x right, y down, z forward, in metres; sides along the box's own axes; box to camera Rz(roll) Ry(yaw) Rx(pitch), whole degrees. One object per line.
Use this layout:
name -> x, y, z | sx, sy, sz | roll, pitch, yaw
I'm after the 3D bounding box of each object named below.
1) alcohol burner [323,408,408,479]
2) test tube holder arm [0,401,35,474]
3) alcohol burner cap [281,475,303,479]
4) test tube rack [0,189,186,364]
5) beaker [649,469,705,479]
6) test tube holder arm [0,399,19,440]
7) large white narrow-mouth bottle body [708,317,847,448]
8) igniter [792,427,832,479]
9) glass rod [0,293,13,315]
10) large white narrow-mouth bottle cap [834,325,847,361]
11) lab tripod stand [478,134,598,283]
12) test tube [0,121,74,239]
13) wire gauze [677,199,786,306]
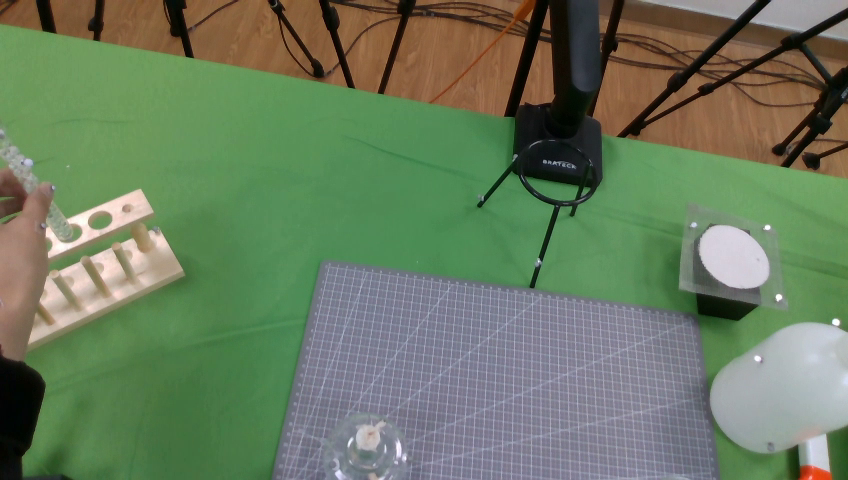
alcohol burner -> -0.051, 0.186, 0.546 | 0.078, 0.120, 0.077 | 5, 58, -7
test tube holder arm -> -0.356, 0.180, 0.510 | 0.010, 0.015, 0.087 | 12, 58, 0
alcohol burner cap -> -0.120, 0.232, 0.552 | 0.034, 0.048, 0.033 | 3, 59, -4
test tube rack -> -0.376, 0.046, 0.604 | 0.242, 0.086, 0.066 | -28, 67, -22
beaker -> 0.211, 0.256, 0.550 | 0.084, 0.101, 0.073 | 6, 58, -3
test tube holder arm -> -0.368, 0.216, 0.486 | 0.013, 0.015, 0.177 | 11, 58, -1
large white narrow-mouth bottle body -> 0.368, 0.133, 0.592 | 0.102, 0.196, 0.101 | 3, 59, -5
igniter -> 0.405, 0.243, 0.630 | 0.057, 0.025, 0.274 | 22, 58, -9
glass rod -> -0.408, 0.012, 0.542 | 0.008, 0.201, 0.008 | 5, 49, -6
large white narrow-mouth bottle cap -> 0.377, 0.088, 0.521 | 0.038, 0.024, 0.037 | 3, 59, -5
lab tripod stand -> 0.137, -0.043, 0.701 | 0.149, 0.132, 0.147 | 4, 60, -7
test tube -> -0.323, -0.044, 0.500 | 0.017, 0.151, 0.017 | 4, 58, -6
wire gauze -> 0.360, 0.014, 0.713 | 0.121, 0.011, 0.124 | 15, 58, 1
